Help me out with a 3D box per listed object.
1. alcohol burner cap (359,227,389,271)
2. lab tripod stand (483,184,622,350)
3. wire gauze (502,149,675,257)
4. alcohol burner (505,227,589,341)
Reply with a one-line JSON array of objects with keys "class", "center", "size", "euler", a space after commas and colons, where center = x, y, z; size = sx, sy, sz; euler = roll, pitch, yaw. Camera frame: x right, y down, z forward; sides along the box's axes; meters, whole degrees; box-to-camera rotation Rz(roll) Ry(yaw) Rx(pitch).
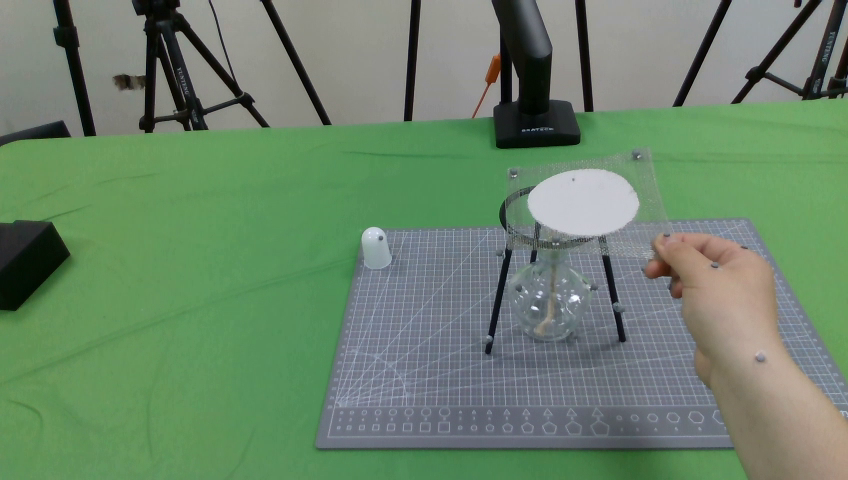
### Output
[{"class": "alcohol burner cap", "center": [-0.057, 0.007, 0.675], "size": [0.034, 0.048, 0.033], "euler": [-3, 40, 2]}, {"class": "lab tripod stand", "center": [0.116, 0.026, 0.556], "size": [0.148, 0.132, 0.147], "euler": [-2, 38, 2]}, {"class": "wire gauze", "center": [0.125, -0.030, 0.487], "size": [0.125, 0.011, 0.120], "euler": [-3, 43, 11]}, {"class": "alcohol burner", "center": [0.115, 0.036, 0.560], "size": [0.078, 0.120, 0.077], "euler": [-2, 38, 2]}]
